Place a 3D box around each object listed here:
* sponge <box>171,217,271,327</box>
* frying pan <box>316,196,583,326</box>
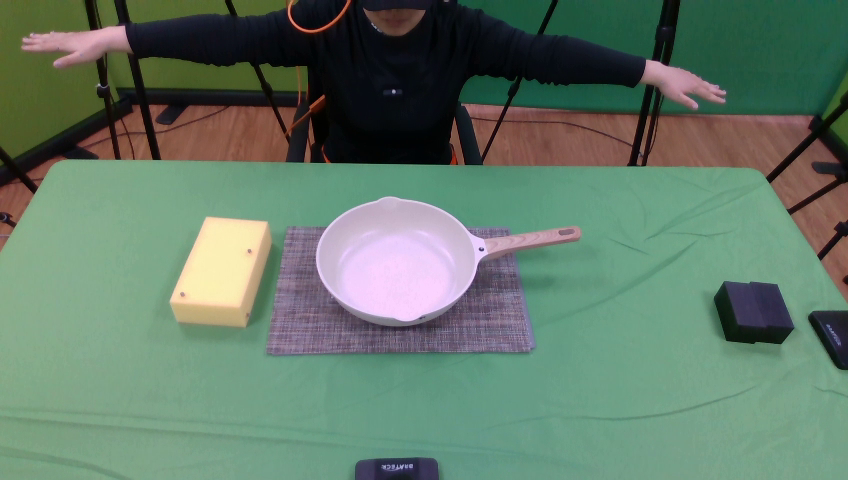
[{"bbox_3d":[-0.360,0.053,1.094,0.118,0.061,0.205,3,46,-1],"label":"sponge"},{"bbox_3d":[0.054,0.027,1.114,0.488,0.103,0.304,-9,48,-1],"label":"frying pan"}]
